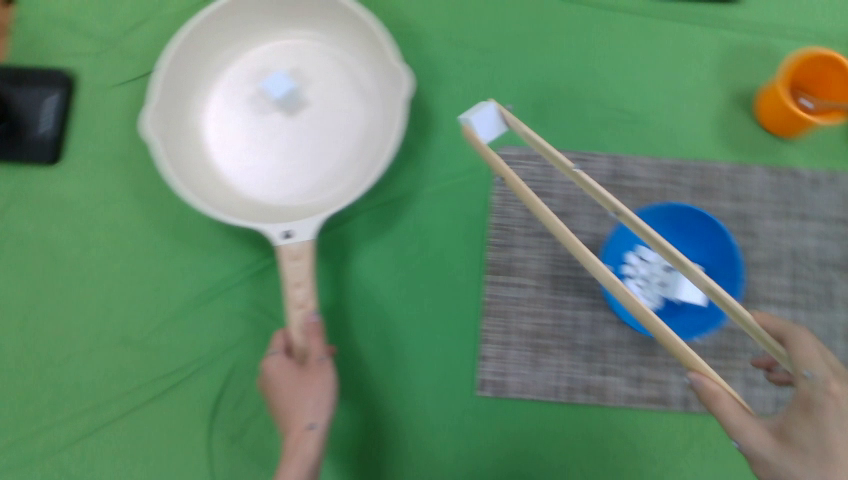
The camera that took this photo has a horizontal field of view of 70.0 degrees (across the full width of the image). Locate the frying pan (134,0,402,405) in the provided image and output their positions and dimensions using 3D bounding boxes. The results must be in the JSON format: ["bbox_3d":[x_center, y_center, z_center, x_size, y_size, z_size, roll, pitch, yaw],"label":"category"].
[{"bbox_3d":[-0.158,-0.059,0.685,0.307,0.103,0.484,-10,73,0],"label":"frying pan"}]

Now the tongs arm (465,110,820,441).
[{"bbox_3d":[0.152,0.011,0.506,0.028,0.028,0.384,-33,63,-13],"label":"tongs arm"}]

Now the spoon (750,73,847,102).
[{"bbox_3d":[0.458,-0.161,0.671,0.041,0.192,0.022,-50,127,-8],"label":"spoon"}]

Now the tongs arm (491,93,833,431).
[{"bbox_3d":[0.171,-0.002,0.510,0.051,0.027,0.381,-38,64,-12],"label":"tongs arm"}]

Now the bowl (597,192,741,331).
[{"bbox_3d":[0.259,0.029,0.676,0.151,0.077,0.151,0,81,1],"label":"bowl"}]
